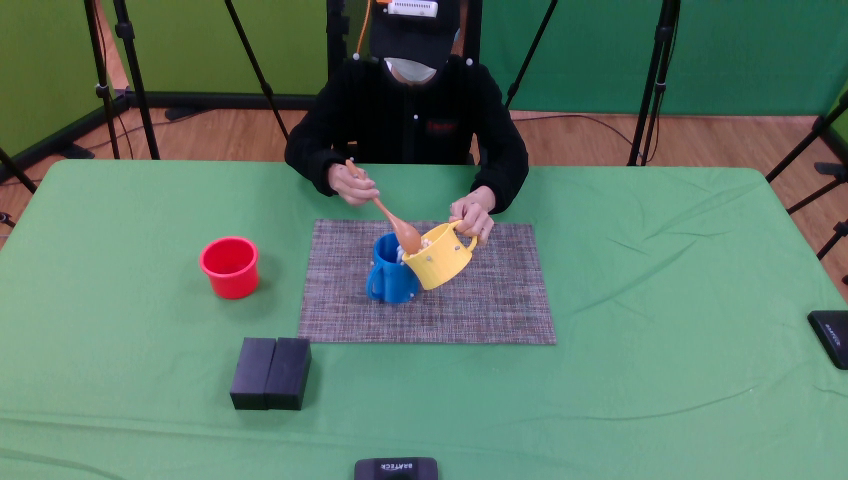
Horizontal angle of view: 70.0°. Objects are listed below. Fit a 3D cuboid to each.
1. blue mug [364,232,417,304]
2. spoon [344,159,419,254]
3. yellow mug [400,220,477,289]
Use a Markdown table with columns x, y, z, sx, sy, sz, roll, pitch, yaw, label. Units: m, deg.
| x | y | z | sx | sy | sz | roll | pitch | yaw | label |
| --- | --- | --- | --- | --- | --- | --- | --- | --- | --- |
| -0.063 | 0.059 | 1.074 | 0.082 | 0.106 | 0.116 | 35 | 53 | 27 | blue mug |
| -0.073 | -0.056 | 1.010 | 0.041 | 0.021 | 0.194 | -41 | 93 | -25 | spoon |
| 0.031 | 0.016 | 1.002 | 0.131 | 0.064 | 0.099 | -37 | 12 | -8 | yellow mug |
